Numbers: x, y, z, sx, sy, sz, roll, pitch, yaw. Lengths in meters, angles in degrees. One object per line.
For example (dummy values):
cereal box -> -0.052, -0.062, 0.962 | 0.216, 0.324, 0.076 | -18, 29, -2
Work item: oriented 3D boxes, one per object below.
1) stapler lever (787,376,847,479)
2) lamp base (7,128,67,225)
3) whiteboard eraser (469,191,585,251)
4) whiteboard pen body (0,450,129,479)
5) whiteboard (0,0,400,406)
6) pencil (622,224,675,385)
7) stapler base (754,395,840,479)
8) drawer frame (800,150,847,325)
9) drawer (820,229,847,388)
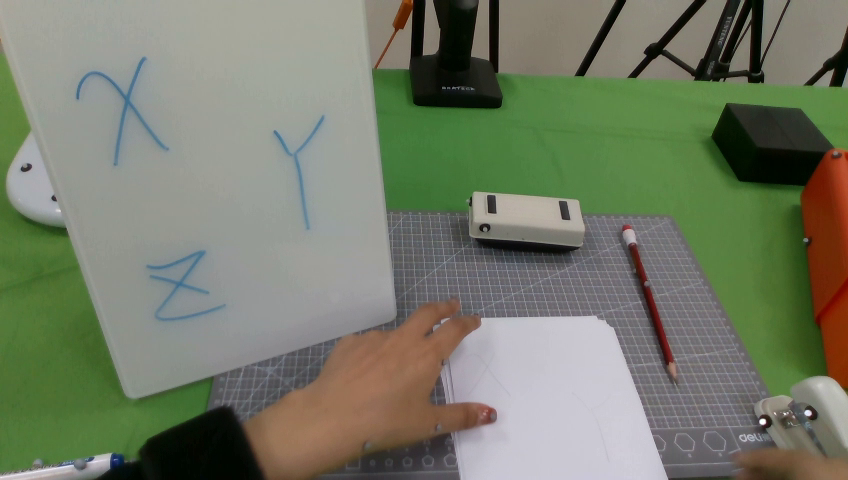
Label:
stapler lever -> 0.303, 0.151, 0.427 | 0.027, 0.040, 0.116 | -7, 48, -14
lamp base -> -0.339, -0.132, 0.575 | 0.178, 0.182, 0.160 | 29, 47, 26
whiteboard eraser -> 0.102, -0.018, 0.607 | 0.113, 0.042, 0.055 | 5, 43, -1
whiteboard pen body -> -0.270, 0.157, 0.394 | 0.141, 0.017, 0.017 | -7, 44, -13
whiteboard -> -0.156, -0.065, 0.477 | 0.218, 0.307, 0.142 | -14, 27, -20
pencil -> 0.210, 0.053, 0.570 | 0.012, 0.012, 0.192 | 4, 44, -2
stapler base -> 0.299, 0.168, 0.446 | 0.041, 0.024, 0.129 | -7, 47, -14
drawer frame -> 0.492, 0.019, 0.591 | 0.201, 0.083, 0.212 | 17, 43, 12
drawer -> 0.469, 0.062, 0.543 | 0.194, 0.074, 0.210 | 17, 43, 12
